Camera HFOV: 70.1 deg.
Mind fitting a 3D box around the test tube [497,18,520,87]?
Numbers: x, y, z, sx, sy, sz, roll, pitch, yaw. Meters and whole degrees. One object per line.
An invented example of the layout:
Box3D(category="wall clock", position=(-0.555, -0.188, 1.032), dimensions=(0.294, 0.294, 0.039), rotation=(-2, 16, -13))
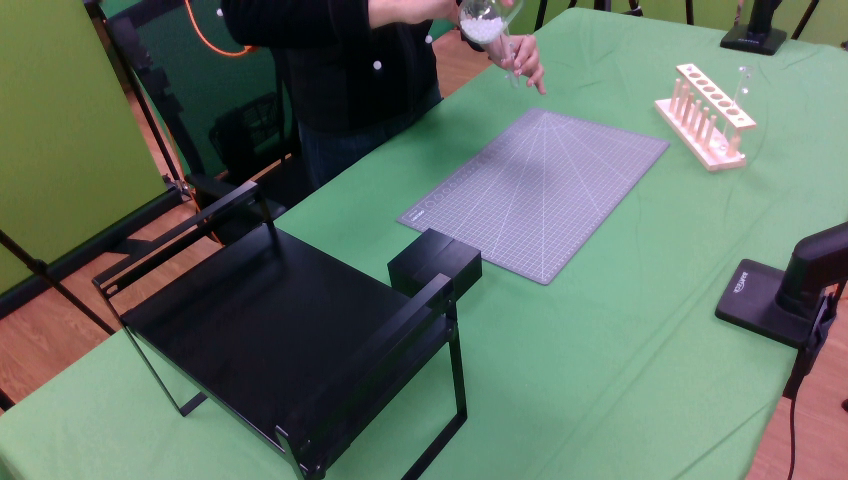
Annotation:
Box3D(category="test tube", position=(0.141, -0.304, 0.994), dimensions=(0.017, 0.151, 0.017), rotation=(-8, 61, 15))

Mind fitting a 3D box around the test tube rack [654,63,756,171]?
Box3D(category="test tube rack", position=(0.511, -0.233, 1.120), dimensions=(0.067, 0.085, 0.241), rotation=(-8, 41, -1))

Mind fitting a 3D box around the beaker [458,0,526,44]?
Box3D(category="beaker", position=(0.097, -0.335, 0.876), dimensions=(0.073, 0.084, 0.100), rotation=(16, 48, 20))

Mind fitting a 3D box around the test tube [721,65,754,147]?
Box3D(category="test tube", position=(0.534, -0.226, 1.031), dimensions=(0.017, 0.151, 0.017), rotation=(-2, 40, 2))
